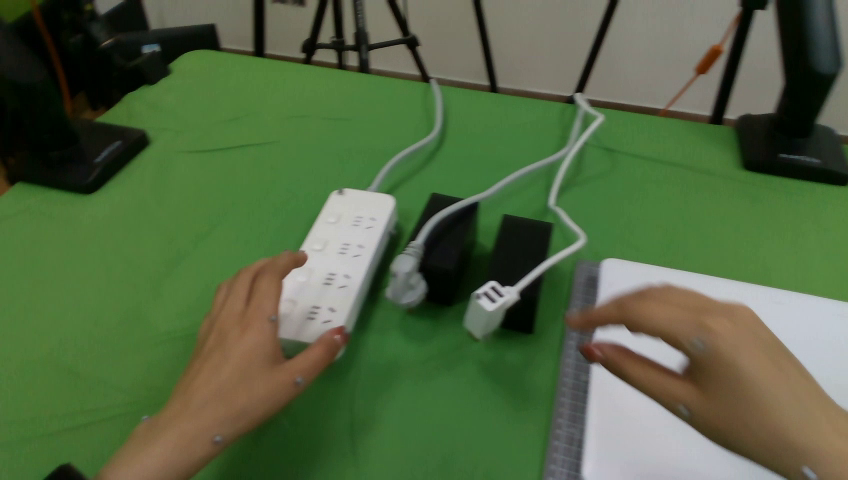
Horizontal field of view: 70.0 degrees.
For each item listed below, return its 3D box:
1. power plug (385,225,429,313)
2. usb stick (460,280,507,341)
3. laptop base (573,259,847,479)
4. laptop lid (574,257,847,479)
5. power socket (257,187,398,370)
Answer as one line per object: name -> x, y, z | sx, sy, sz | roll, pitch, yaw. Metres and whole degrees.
power plug -> -0.005, 0.030, 0.540 | 0.035, 0.053, 0.072 | 31, 67, 36
usb stick -> 0.047, 0.061, 0.494 | 0.027, 0.059, 0.021 | -32, 63, -33
laptop base -> 0.306, 0.133, 0.478 | 0.353, 0.023, 0.234 | 11, 47, 11
laptop lid -> 0.305, 0.125, 0.468 | 0.355, 0.013, 0.240 | 12, 46, 12
power socket -> -0.085, 0.024, 0.579 | 0.072, 0.033, 0.225 | 11, 43, 9
